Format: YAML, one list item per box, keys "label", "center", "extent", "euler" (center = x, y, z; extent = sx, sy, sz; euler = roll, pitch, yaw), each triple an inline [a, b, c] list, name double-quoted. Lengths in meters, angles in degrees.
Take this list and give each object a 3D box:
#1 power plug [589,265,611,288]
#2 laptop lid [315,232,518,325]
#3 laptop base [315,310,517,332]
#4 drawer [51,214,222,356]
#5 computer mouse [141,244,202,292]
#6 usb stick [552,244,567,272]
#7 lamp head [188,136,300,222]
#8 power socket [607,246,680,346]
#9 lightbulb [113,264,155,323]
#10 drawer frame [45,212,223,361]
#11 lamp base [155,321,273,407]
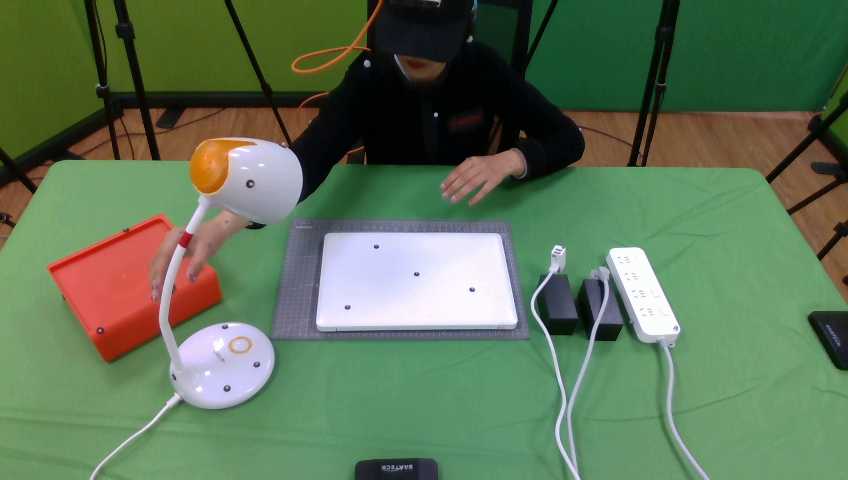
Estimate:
- label: "power plug"
  center: [0.318, 0.073, 1.108]
  extent: [0.035, 0.053, 0.072]
  euler: [26, 34, 12]
- label: "laptop lid"
  center: [-0.015, 0.065, 1.118]
  extent: [0.357, 0.013, 0.240]
  euler: [1, 43, -3]
- label: "laptop base"
  center: [-0.016, 0.075, 1.125]
  extent: [0.355, 0.023, 0.234]
  euler: [0, 42, -4]
- label: "drawer"
  center: [-0.495, 0.071, 1.053]
  extent: [0.212, 0.073, 0.193]
  euler: [-32, 57, -29]
- label: "computer mouse"
  center: [-0.460, 0.044, 1.099]
  extent: [0.116, 0.041, 0.063]
  euler: [30, 52, 29]
- label: "usb stick"
  center: [0.251, 0.039, 1.124]
  extent: [0.021, 0.059, 0.027]
  euler: [14, 48, 26]
- label: "lamp head"
  center: [-0.240, -0.081, 0.773]
  extent: [0.112, 0.112, 0.123]
  euler: [35, 15, 26]
- label: "power socket"
  center: [0.403, 0.096, 1.123]
  extent: [0.072, 0.033, 0.225]
  euler: [-2, 46, -5]
- label: "lightbulb"
  center: [-0.494, 0.091, 1.045]
  extent: [0.059, 0.060, 0.107]
  euler: [9, 62, 5]
- label: "drawer frame"
  center: [-0.496, 0.073, 1.049]
  extent: [0.213, 0.083, 0.200]
  euler: [-33, 56, -29]
- label: "lamp base"
  center: [-0.328, 0.151, 0.916]
  extent: [0.160, 0.181, 0.179]
  euler: [29, 53, 22]
